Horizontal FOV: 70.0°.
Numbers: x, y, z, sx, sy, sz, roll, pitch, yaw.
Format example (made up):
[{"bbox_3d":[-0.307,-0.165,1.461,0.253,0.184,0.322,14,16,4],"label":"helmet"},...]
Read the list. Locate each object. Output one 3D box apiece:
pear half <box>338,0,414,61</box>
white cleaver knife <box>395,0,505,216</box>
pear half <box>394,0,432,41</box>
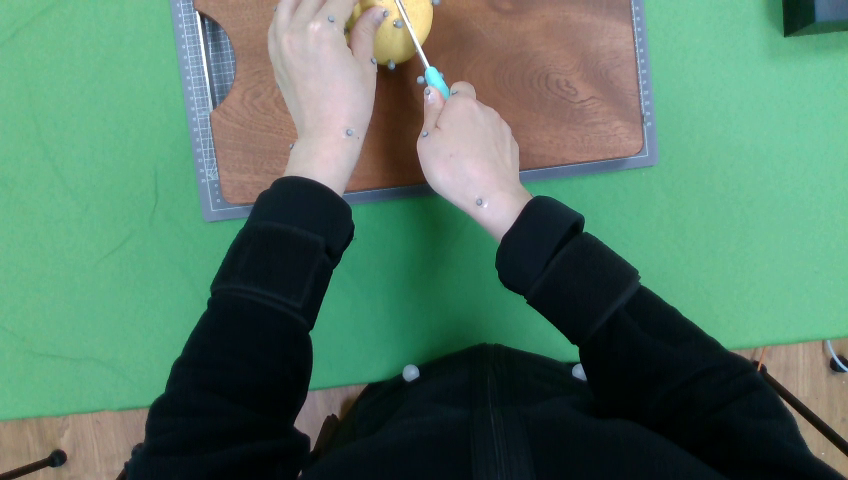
[{"bbox_3d":[-0.045,-0.189,0.507,0.056,0.110,0.076,-31,87,2],"label":"pear half"},{"bbox_3d":[0.003,-0.153,0.507,0.021,0.066,0.286,-24,91,8],"label":"white cleaver knife"},{"bbox_3d":[-0.011,-0.207,0.516,0.031,0.088,0.070,-32,87,-1],"label":"pear half"}]
